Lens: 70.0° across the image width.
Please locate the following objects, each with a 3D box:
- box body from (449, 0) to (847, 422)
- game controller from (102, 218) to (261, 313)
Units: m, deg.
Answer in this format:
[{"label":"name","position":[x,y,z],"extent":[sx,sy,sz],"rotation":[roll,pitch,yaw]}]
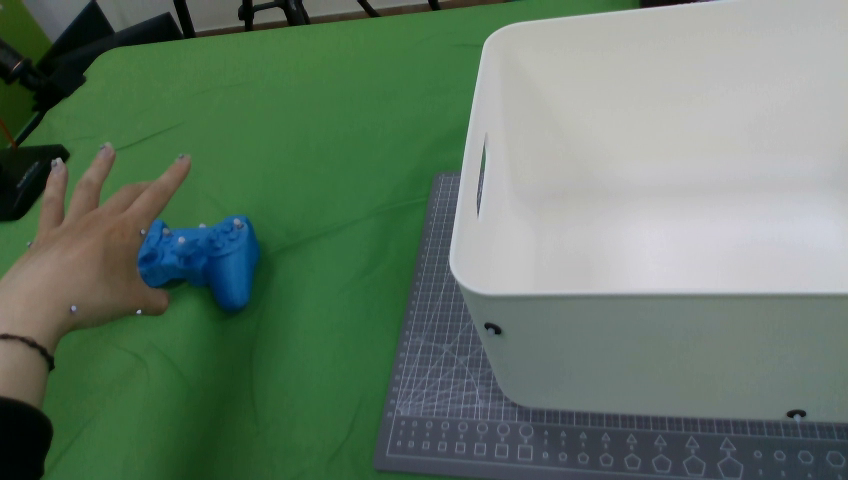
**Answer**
[{"label":"box body","position":[0.219,-0.022,0.405],"extent":[0.363,0.162,0.252],"rotation":[-2,50,15]},{"label":"game controller","position":[-0.231,0.020,0.580],"extent":[0.155,0.052,0.096],"rotation":[-1,46,14]}]
